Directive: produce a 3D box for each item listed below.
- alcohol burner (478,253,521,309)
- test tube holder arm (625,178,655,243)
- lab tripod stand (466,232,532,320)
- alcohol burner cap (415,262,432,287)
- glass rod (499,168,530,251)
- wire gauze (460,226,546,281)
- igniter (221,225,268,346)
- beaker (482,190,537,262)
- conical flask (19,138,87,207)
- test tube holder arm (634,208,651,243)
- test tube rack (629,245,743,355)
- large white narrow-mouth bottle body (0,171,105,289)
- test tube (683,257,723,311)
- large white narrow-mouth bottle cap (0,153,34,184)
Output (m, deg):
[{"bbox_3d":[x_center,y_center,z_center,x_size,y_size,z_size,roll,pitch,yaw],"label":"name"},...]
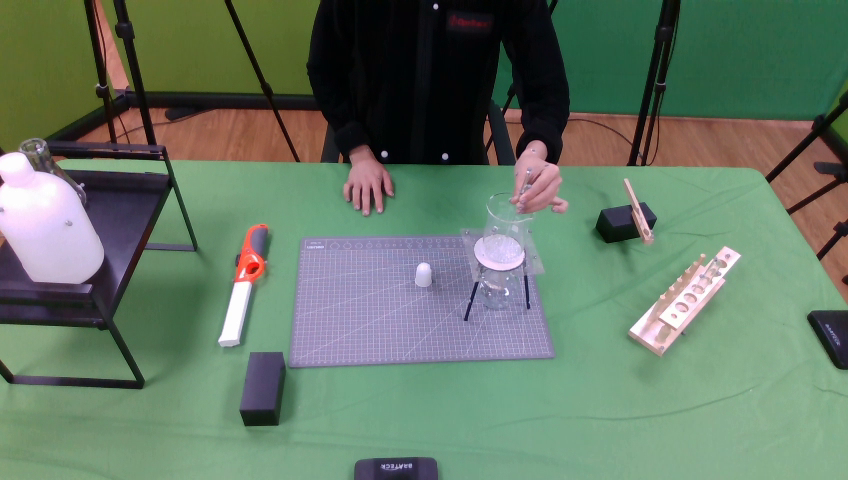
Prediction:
[{"bbox_3d":[0.134,0.067,1.072,0.078,0.120,0.077,0,47,0],"label":"alcohol burner"},{"bbox_3d":[0.433,-0.062,1.220,0.013,0.015,0.177,2,47,-3],"label":"test tube holder arm"},{"bbox_3d":[0.125,0.060,1.065,0.148,0.132,0.147,1,45,0],"label":"lab tripod stand"},{"bbox_3d":[0.000,0.061,1.119,0.034,0.048,0.033,2,45,-2],"label":"alcohol burner cap"},{"bbox_3d":[0.138,-0.041,0.928,0.008,0.200,0.008,3,54,-4],"label":"glass rod"},{"bbox_3d":[0.130,0.017,1.016,0.121,0.011,0.124,-3,43,-9],"label":"wire gauze"},{"bbox_3d":[-0.323,0.072,1.100,0.057,0.025,0.274,-6,45,5],"label":"igniter"},{"bbox_3d":[0.136,-0.019,0.983,0.084,0.101,0.073,17,47,14],"label":"beaker"},{"bbox_3d":[-0.576,-0.097,0.930,0.075,0.122,0.075,2,46,-2],"label":"conical flask"},{"bbox_3d":[0.428,-0.030,1.189,0.010,0.015,0.087,3,47,-3],"label":"test tube holder arm"},{"bbox_3d":[0.474,0.095,1.091,0.242,0.085,0.066,-34,56,-31],"label":"test tube rack"},{"bbox_3d":[-0.513,-0.029,0.818,0.102,0.195,0.101,2,46,-2],"label":"large white narrow-mouth bottle body"},{"bbox_3d":[0.475,0.080,1.037,0.017,0.151,0.017,1,51,-1],"label":"test tube"},{"bbox_3d":[-0.510,-0.089,0.755,0.038,0.024,0.037,2,46,-2],"label":"large white narrow-mouth bottle cap"}]
